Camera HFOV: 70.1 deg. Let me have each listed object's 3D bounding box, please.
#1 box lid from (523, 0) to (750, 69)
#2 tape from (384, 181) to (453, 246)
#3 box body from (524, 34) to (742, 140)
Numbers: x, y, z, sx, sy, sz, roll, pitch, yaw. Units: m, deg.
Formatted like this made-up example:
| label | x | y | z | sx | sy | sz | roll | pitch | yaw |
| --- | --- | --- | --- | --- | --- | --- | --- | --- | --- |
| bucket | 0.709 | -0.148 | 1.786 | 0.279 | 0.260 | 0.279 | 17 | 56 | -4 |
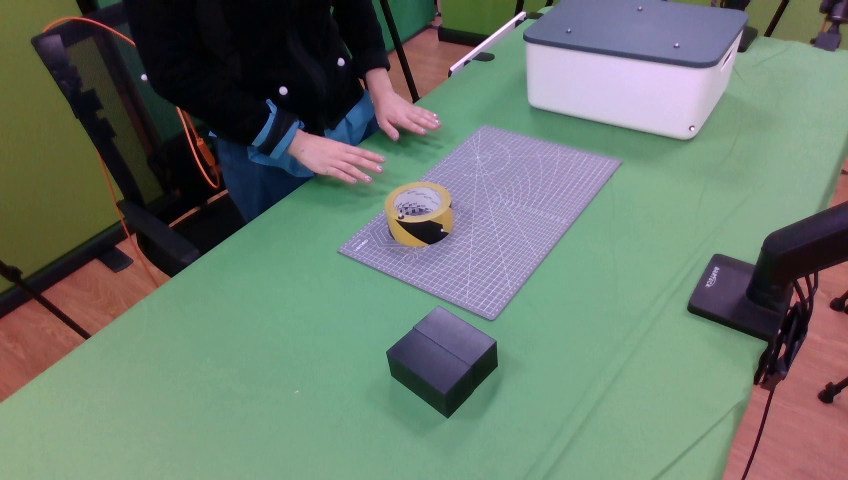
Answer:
| label | x | y | z | sx | sy | sz | roll | pitch | yaw |
| --- | --- | --- | --- | --- | --- | --- | --- | --- | --- |
| box lid | 0.405 | -0.409 | 1.163 | 0.368 | 0.015 | 0.264 | 20 | 47 | 29 |
| tape | -0.009 | -0.045 | 0.994 | 0.117 | 0.053 | 0.116 | -4 | 40 | 4 |
| box body | 0.412 | -0.355 | 1.213 | 0.361 | 0.161 | 0.255 | 20 | 48 | 29 |
